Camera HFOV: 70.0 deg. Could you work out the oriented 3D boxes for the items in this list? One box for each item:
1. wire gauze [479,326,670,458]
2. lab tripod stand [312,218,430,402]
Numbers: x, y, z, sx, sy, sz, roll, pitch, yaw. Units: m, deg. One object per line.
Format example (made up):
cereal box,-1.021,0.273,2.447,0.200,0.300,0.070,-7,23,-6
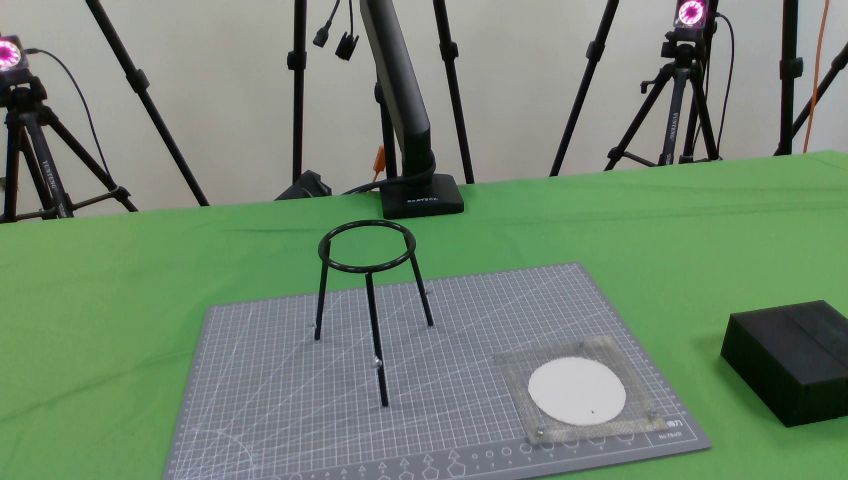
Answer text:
wire gauze,0.132,0.128,0.546,0.122,0.011,0.123,-14,38,-24
lab tripod stand,-0.050,0.059,0.581,0.148,0.132,0.147,0,31,0
